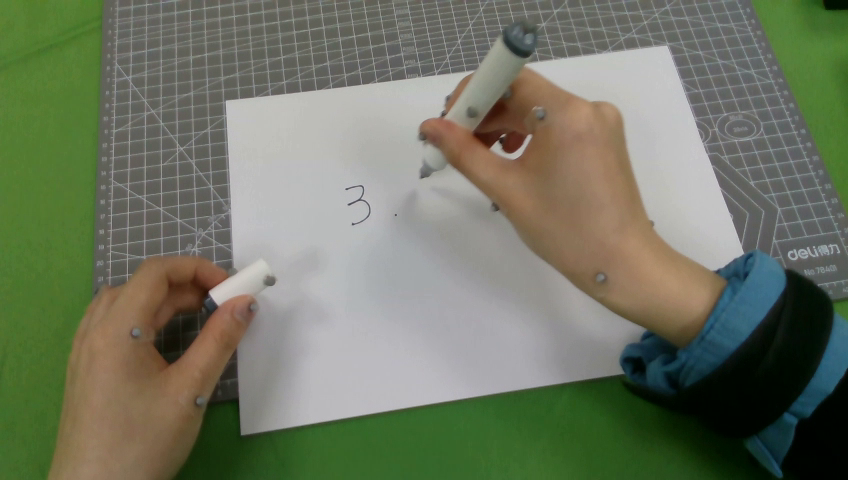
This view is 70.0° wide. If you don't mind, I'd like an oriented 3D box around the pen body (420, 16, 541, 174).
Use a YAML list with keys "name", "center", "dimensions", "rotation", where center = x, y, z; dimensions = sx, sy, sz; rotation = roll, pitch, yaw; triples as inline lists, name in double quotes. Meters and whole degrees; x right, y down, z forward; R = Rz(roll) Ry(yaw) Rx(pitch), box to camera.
- name: "pen body"
  center: [0.020, -0.061, 0.301]
  dimensions: [0.017, 0.144, 0.017]
  rotation: [5, 72, -16]

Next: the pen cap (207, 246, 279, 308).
- name: "pen cap"
  center: [-0.096, 0.021, 0.319]
  dimensions: [0.038, 0.017, 0.017]
  rotation: [-35, 72, 8]
